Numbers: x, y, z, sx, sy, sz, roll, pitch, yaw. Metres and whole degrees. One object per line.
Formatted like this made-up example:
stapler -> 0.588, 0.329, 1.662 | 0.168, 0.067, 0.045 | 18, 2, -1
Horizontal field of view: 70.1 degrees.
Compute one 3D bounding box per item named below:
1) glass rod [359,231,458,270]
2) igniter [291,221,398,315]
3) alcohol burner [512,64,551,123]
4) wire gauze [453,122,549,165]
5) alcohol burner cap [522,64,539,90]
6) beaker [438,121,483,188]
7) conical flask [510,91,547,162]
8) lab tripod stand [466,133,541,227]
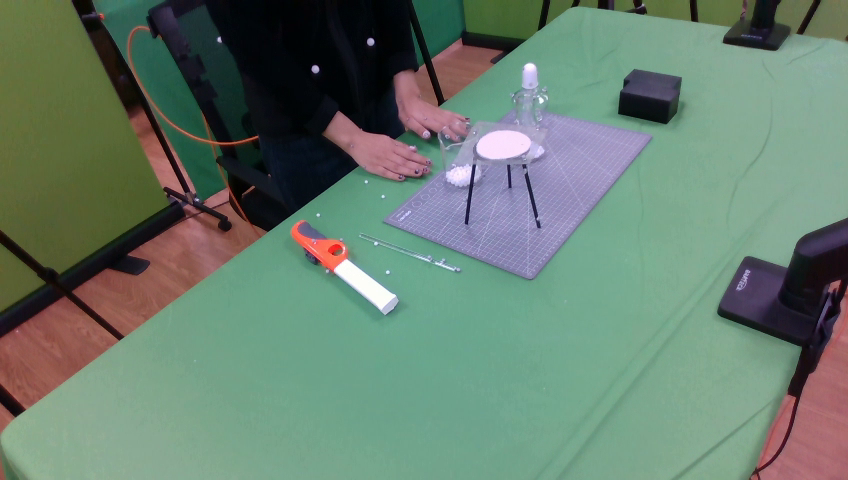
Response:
glass rod -> -0.029, 0.016, 0.982 | 0.198, 0.008, 0.008 | 20, 49, 30
igniter -> -0.136, 0.037, 0.962 | 0.057, 0.025, 0.274 | -41, 48, -18
alcohol burner -> 0.215, -0.298, 1.220 | 0.078, 0.120, 0.077 | -7, 40, 7
wire gauze -> 0.121, -0.150, 0.942 | 0.121, 0.011, 0.125 | 8, 42, 21
alcohol burner cap -> 0.210, -0.325, 1.195 | 0.034, 0.048, 0.033 | -6, 45, 7
beaker -> 0.066, -0.149, 1.084 | 0.073, 0.101, 0.084 | 20, 49, 31
conical flask -> 0.189, -0.212, 1.116 | 0.075, 0.122, 0.075 | -6, 40, 5
lab tripod stand -> 0.130, -0.099, 0.985 | 0.148, 0.132, 0.147 | -6, 38, 6
